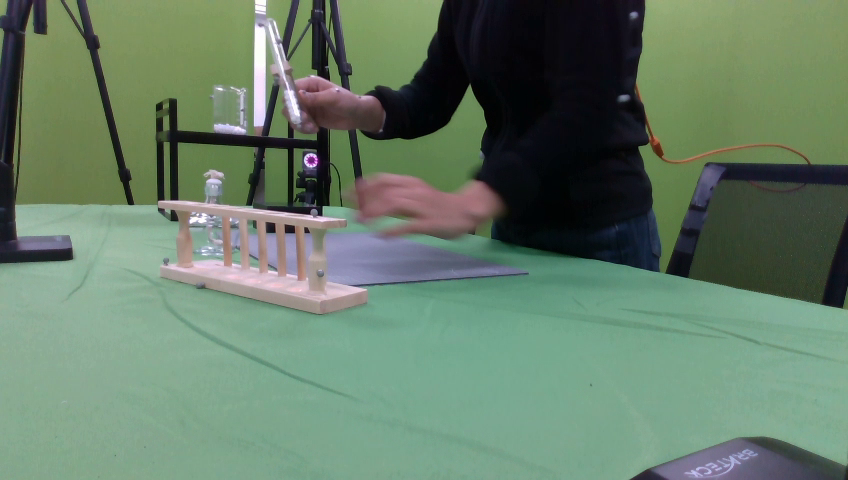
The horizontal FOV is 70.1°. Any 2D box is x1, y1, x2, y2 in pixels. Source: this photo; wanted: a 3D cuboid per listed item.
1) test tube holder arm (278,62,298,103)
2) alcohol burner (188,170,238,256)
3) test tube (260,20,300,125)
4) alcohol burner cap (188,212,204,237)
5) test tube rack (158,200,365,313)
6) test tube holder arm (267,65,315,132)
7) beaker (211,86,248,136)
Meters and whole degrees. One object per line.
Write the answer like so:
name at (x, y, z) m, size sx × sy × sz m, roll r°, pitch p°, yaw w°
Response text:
test tube holder arm at (-0.179, -0.206, 0.803) m, size 0.010 × 0.015 × 0.088 m, roll -15°, pitch -15°, yaw -6°
alcohol burner at (-0.296, -0.038, 0.850) m, size 0.078 × 0.119 × 0.078 m, roll 2°, pitch 6°, yaw 0°
test tube at (-0.186, -0.218, 0.782) m, size 0.017 × 0.150 × 0.017 m, roll -17°, pitch -11°, yaw -3°
alcohol burner cap at (-0.390, -0.029, 1.025) m, size 0.034 × 0.048 × 0.034 m, roll 2°, pitch 9°, yaw 0°
test tube rack at (-0.174, 0.009, 0.624) m, size 0.241 × 0.085 × 0.067 m, roll 7°, pitch 9°, yaw 34°
test tube holder arm at (-0.183, -0.193, 0.847) m, size 0.013 × 0.015 × 0.178 m, roll -16°, pitch -15°, yaw 1°
beaker at (-0.414, -0.274, 1.297) m, size 0.074 × 0.100 × 0.083 m, roll -5°, pitch 11°, yaw -44°
